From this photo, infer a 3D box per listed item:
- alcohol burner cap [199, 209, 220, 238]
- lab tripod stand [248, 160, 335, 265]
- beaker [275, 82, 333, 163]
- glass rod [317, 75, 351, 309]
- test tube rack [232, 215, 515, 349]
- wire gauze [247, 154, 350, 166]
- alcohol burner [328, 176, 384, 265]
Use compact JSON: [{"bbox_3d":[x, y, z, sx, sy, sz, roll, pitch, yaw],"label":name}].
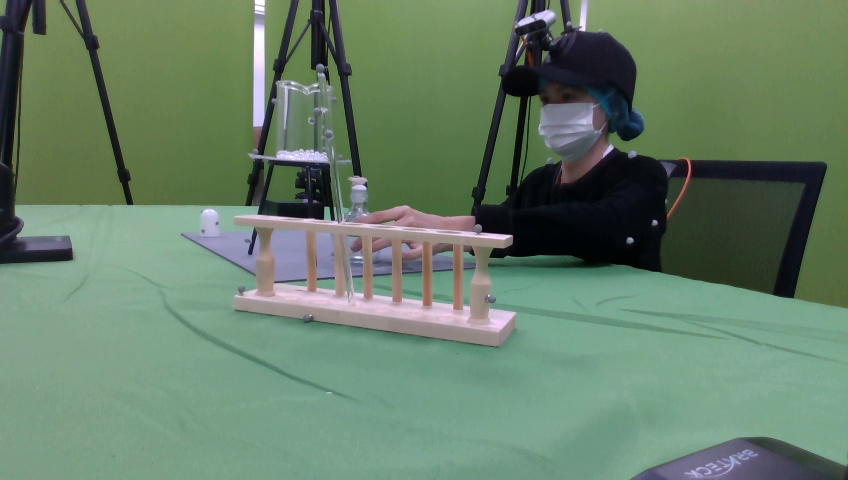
[{"bbox_3d":[-0.356,-0.027,1.002,0.034,0.048,0.034,2,7,0],"label":"alcohol burner cap"},{"bbox_3d":[-0.165,-0.041,0.817,0.148,0.131,0.148,5,7,0],"label":"lab tripod stand"},{"bbox_3d":[-0.159,-0.152,0.795,0.074,0.100,0.083,1,8,-15],"label":"beaker"},{"bbox_3d":[-0.075,-0.036,0.502,0.008,0.199,0.008,-5,8,1],"label":"glass rod"},{"bbox_3d":[-0.045,0.028,0.526,0.242,0.085,0.067,5,8,19],"label":"test tube rack"},{"bbox_3d":[-0.170,-0.105,0.802,0.122,0.011,0.124,-1,11,-20],"label":"wire gauze"},{"bbox_3d":[-0.091,-0.027,0.815,0.078,0.119,0.078,1,9,0],"label":"alcohol burner"}]
